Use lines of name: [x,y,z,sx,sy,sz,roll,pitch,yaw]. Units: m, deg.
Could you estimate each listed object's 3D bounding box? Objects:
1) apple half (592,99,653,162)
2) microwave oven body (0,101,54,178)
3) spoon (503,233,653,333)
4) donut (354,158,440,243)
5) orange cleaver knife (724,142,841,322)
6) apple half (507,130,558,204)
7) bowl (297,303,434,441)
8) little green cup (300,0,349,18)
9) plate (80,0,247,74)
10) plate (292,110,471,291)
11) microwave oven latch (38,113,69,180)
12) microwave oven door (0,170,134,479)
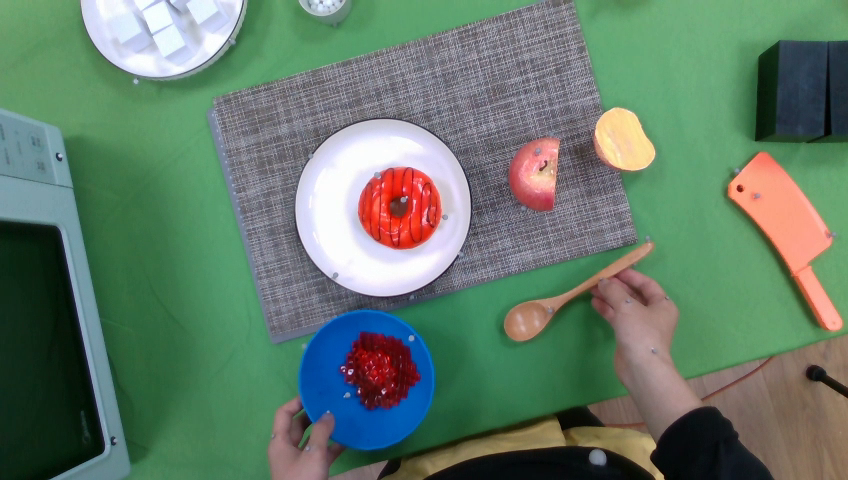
apple half: [0.216,-0.117,0.685,0.082,0.033,0.080,9,68,-22]
microwave oven body: [-0.568,0.093,0.640,0.326,0.260,0.441,-13,89,4]
spoon: [0.176,0.048,0.691,0.194,0.022,0.041,-32,81,11]
donut: [-0.031,-0.045,0.695,0.099,0.048,0.099,0,91,5]
orange cleaver knife: [0.417,-0.010,0.679,0.077,0.012,0.211,-31,86,-1]
apple half: [0.120,-0.082,0.676,0.053,0.075,0.081,4,93,9]
bowl: [-0.060,0.143,0.690,0.151,0.077,0.151,0,89,5]
little green cup: [-0.118,-0.296,0.720,0.061,0.038,0.061,0,89,5]
plate: [-0.311,-0.302,0.737,0.207,0.039,0.207,0,89,5]
plate: [-0.048,-0.045,0.707,0.209,0.038,0.209,0,90,5]
microwave oven latch: [-0.455,-0.111,0.729,0.030,0.029,0.079,-12,89,4]
microwave oven door: [-0.417,0.101,0.621,0.039,0.244,0.355,-14,88,5]
